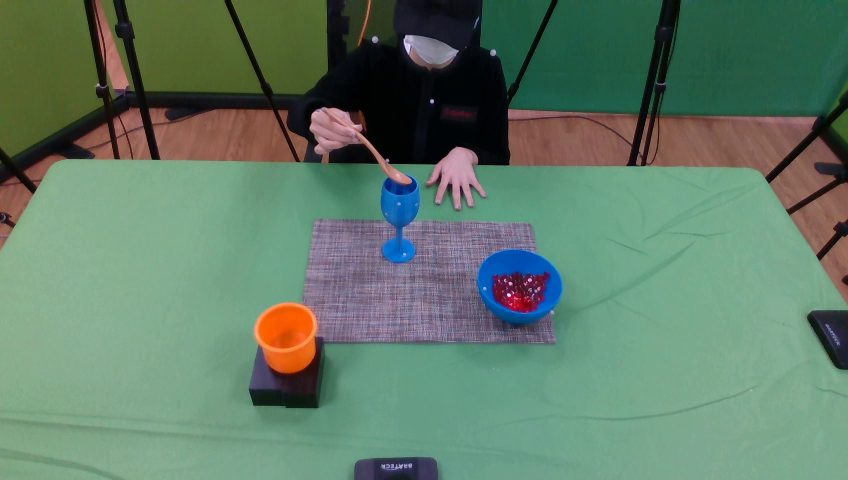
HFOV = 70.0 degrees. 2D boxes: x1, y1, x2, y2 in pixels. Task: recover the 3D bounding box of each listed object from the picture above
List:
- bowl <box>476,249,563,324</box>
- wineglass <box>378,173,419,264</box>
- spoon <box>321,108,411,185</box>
[{"bbox_3d":[0.163,0.096,1.073,0.151,0.077,0.150,2,45,-2],"label":"bowl"},{"bbox_3d":[-0.047,-0.037,1.121,0.074,0.173,0.073,2,46,-2],"label":"wineglass"},{"bbox_3d":[-0.098,-0.159,1.030,0.194,0.021,0.041,44,24,-12],"label":"spoon"}]
